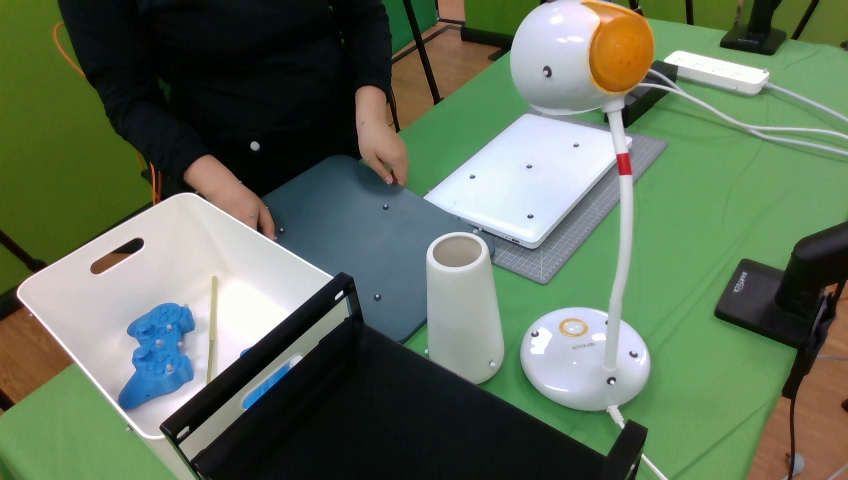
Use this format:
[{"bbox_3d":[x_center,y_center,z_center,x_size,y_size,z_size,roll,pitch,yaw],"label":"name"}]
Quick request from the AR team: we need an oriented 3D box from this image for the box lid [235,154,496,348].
[{"bbox_3d":[-0.096,-0.003,0.957,0.369,0.015,0.264,32,53,25],"label":"box lid"}]

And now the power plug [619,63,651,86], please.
[{"bbox_3d":[0.435,-0.341,1.266,0.035,0.053,0.072,5,31,-14],"label":"power plug"}]

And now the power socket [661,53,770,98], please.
[{"bbox_3d":[0.617,-0.355,1.292,0.225,0.033,0.072,29,53,35],"label":"power socket"}]

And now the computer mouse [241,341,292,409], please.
[{"bbox_3d":[-0.201,0.177,0.776,0.063,0.041,0.116,-11,44,-8],"label":"computer mouse"}]

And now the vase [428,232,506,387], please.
[{"bbox_3d":[0.050,0.087,0.728,0.098,0.201,0.097,-3,40,3],"label":"vase"}]

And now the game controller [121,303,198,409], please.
[{"bbox_3d":[-0.364,0.149,0.828,0.097,0.052,0.154,-13,41,-9],"label":"game controller"}]

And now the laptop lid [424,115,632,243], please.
[{"bbox_3d":[0.189,-0.126,1.081,0.239,0.013,0.358,23,48,35],"label":"laptop lid"}]

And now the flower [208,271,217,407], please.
[{"bbox_3d":[-0.286,0.160,0.819,0.044,0.038,0.359,6,36,-23],"label":"flower"}]

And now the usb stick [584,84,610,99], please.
[{"bbox_3d":[0.354,-0.306,1.252,0.027,0.021,0.058,-3,1,-39],"label":"usb stick"}]

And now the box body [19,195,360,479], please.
[{"bbox_3d":[-0.288,0.118,0.772,0.361,0.161,0.255,26,50,33],"label":"box body"}]

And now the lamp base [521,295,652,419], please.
[{"bbox_3d":[0.200,0.095,0.710,0.161,0.181,0.178,-16,43,-10],"label":"lamp base"}]

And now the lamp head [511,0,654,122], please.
[{"bbox_3d":[0.155,-0.168,0.563,0.113,0.113,0.122,-18,23,-12],"label":"lamp head"}]

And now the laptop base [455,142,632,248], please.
[{"bbox_3d":[0.192,-0.117,1.087,0.233,0.023,0.355,21,47,34],"label":"laptop base"}]
